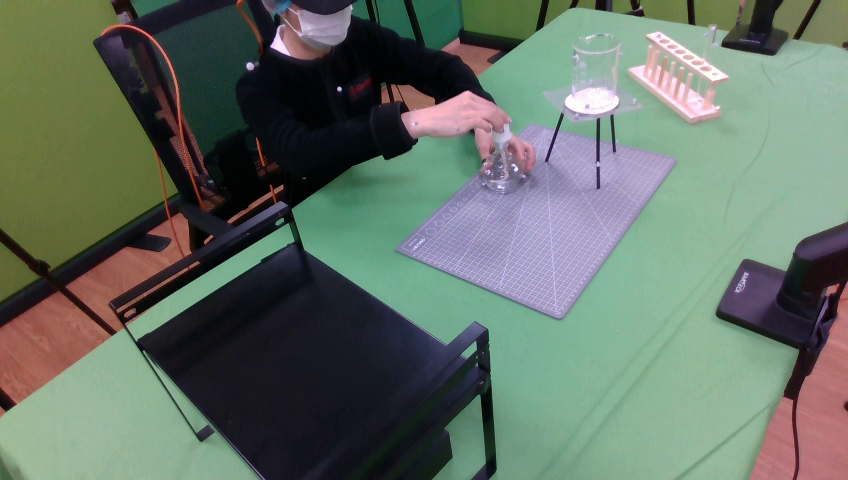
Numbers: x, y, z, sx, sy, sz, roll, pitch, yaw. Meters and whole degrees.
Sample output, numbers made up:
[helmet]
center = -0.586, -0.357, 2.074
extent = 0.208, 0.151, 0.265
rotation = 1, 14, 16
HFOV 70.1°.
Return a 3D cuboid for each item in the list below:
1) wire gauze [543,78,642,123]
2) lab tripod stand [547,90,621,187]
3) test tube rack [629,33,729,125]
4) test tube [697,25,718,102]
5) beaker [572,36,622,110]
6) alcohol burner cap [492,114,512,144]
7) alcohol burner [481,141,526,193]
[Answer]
[wire gauze]
center = 0.282, -0.234, 1.022
extent = 0.125, 0.011, 0.120
rotation = -17, 38, -4
[lab tripod stand]
center = 0.289, -0.184, 1.062
extent = 0.148, 0.132, 0.147
rotation = -6, 41, 6
[test tube rack]
center = 0.516, -0.337, 1.247
extent = 0.067, 0.085, 0.240
rotation = -14, 41, -7
[test tube]
center = 0.546, -0.337, 1.166
extent = 0.017, 0.151, 0.017
rotation = -5, 36, 4
[beaker]
center = 0.279, -0.274, 0.992
extent = 0.074, 0.101, 0.083
rotation = -14, 40, -5
[alcohol burner cap]
center = 0.129, -0.189, 1.013
extent = 0.034, 0.048, 0.033
rotation = -8, 40, 8
[alcohol burner]
center = 0.138, -0.142, 1.052
extent = 0.078, 0.119, 0.077
rotation = -5, 42, 5
